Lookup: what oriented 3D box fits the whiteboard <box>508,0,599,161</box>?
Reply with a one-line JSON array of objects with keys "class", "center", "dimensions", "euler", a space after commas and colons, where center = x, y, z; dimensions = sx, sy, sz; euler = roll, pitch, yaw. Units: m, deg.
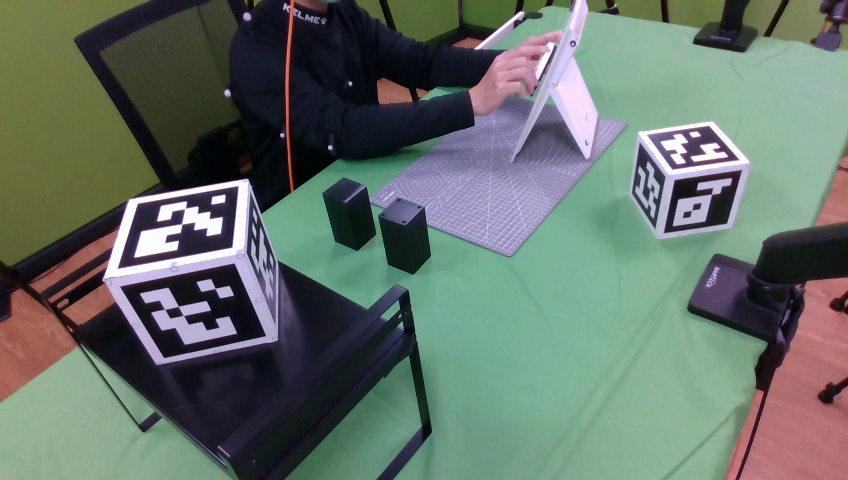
[{"class": "whiteboard", "center": [0.286, -0.289, 1.089], "dimensions": [0.144, 0.305, 0.217], "euler": [22, 45, 3]}]

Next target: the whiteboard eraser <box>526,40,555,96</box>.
[{"class": "whiteboard eraser", "center": [0.212, -0.314, 1.104], "dimensions": [0.019, 0.101, 0.041], "euler": [21, 31, 1]}]
